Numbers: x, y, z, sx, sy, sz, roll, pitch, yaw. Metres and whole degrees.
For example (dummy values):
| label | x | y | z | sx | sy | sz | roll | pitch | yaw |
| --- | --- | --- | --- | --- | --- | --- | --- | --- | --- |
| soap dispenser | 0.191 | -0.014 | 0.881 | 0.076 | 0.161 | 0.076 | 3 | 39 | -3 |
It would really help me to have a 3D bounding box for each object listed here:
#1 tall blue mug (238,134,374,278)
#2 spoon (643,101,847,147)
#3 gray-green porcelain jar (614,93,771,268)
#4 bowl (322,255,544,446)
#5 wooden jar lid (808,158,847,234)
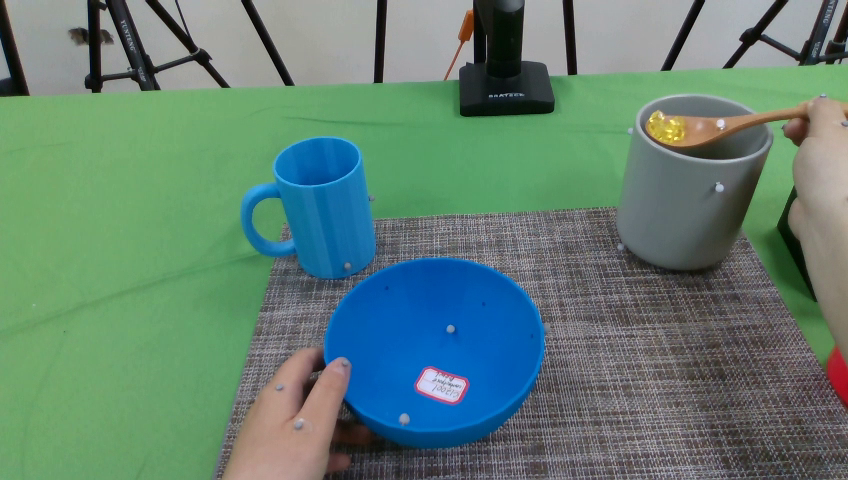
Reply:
| label | x | y | z | sx | sy | sz | roll | pitch | yaw |
| --- | --- | --- | --- | --- | --- | --- | --- | --- | --- |
| tall blue mug | -0.101 | -0.022 | 0.543 | 0.107 | 0.109 | 0.077 | -35 | 51 | -29 |
| spoon | 0.272 | -0.094 | 0.466 | 0.193 | 0.022 | 0.041 | -4 | 43 | 24 |
| gray-green porcelain jar | 0.226 | -0.047 | 0.530 | 0.106 | 0.128 | 0.105 | -2 | 42 | 3 |
| bowl | 0.008 | 0.089 | 0.435 | 0.151 | 0.077 | 0.150 | -2 | 42 | 2 |
| wooden jar lid | 0.383 | -0.032 | 0.512 | 0.108 | 0.021 | 0.107 | -3 | 42 | 3 |
